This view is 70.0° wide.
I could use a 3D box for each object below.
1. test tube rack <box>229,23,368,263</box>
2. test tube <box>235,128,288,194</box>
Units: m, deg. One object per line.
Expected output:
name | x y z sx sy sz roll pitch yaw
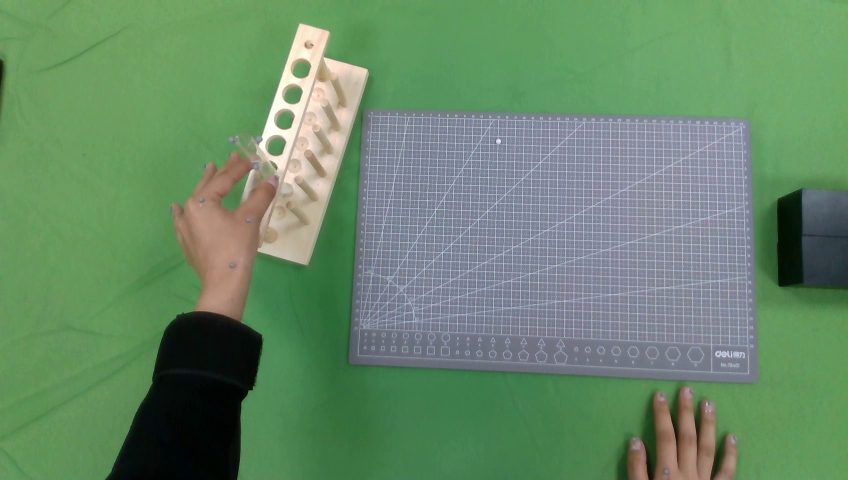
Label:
test tube rack | -0.133 -0.103 0.673 0.067 0.085 0.241 16 83 4
test tube | -0.162 -0.077 0.619 0.017 0.151 0.017 0 76 1
